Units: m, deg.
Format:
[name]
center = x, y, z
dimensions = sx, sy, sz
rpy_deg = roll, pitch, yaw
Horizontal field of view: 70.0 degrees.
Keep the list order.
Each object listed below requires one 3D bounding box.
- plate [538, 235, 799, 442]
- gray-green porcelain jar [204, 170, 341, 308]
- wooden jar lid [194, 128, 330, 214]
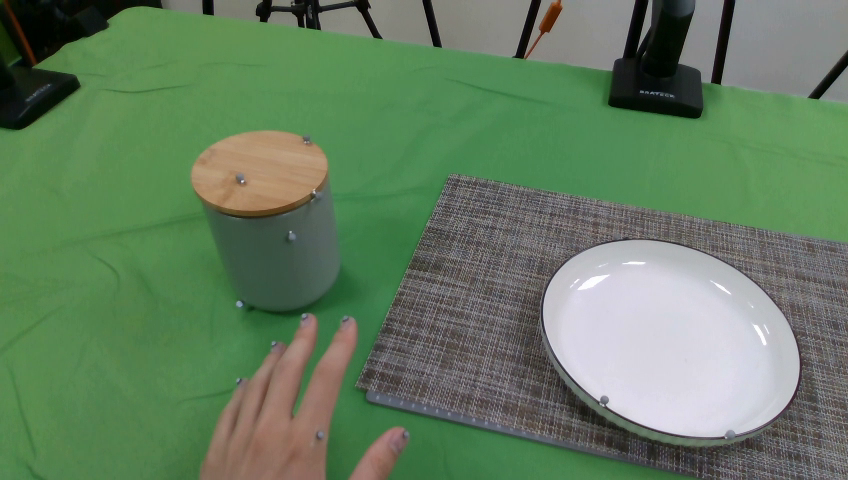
[plate]
center = 0.200, 0.080, 0.516
dimensions = 0.208, 0.039, 0.205
rpy_deg = 0, 45, 0
[gray-green porcelain jar]
center = -0.131, -0.009, 0.546
dimensions = 0.106, 0.127, 0.105
rpy_deg = 1, 45, 0
[wooden jar lid]
center = -0.132, -0.055, 0.501
dimensions = 0.108, 0.021, 0.107
rpy_deg = 3, 44, -3
